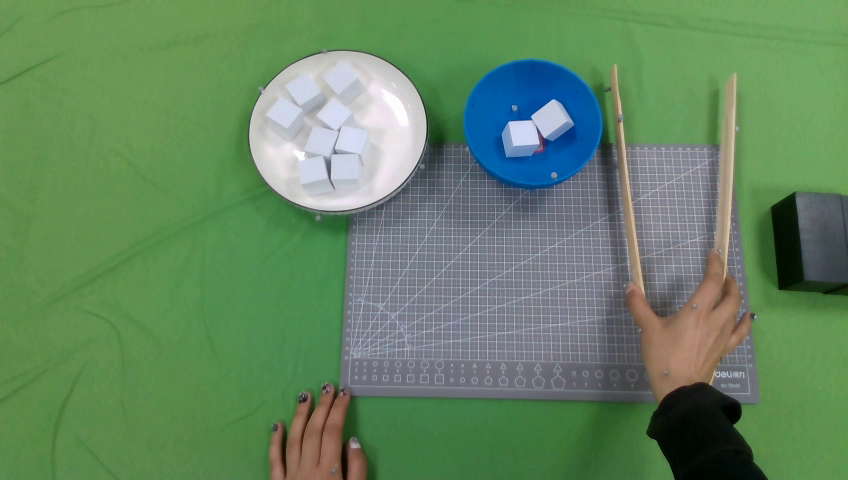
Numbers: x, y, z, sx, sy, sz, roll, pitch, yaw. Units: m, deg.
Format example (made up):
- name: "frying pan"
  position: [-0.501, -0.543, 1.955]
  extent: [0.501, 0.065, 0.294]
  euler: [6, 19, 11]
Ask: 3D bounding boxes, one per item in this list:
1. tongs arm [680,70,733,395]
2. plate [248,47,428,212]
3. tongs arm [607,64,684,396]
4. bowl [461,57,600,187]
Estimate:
- name: "tongs arm"
  position: [0.322, -0.017, 0.679]
  extent: [0.028, 0.028, 0.385]
  euler: [13, 76, -2]
- name: "plate"
  position: [-0.099, -0.128, 0.713]
  extent: [0.207, 0.039, 0.206]
  euler: [0, 74, 1]
- name: "tongs arm"
  position: [0.245, -0.022, 0.681]
  extent: [0.051, 0.026, 0.382]
  euler: [1, 75, -2]
- name: "bowl"
  position: [0.115, -0.121, 0.688]
  extent: [0.151, 0.077, 0.150]
  euler: [0, 74, 0]
